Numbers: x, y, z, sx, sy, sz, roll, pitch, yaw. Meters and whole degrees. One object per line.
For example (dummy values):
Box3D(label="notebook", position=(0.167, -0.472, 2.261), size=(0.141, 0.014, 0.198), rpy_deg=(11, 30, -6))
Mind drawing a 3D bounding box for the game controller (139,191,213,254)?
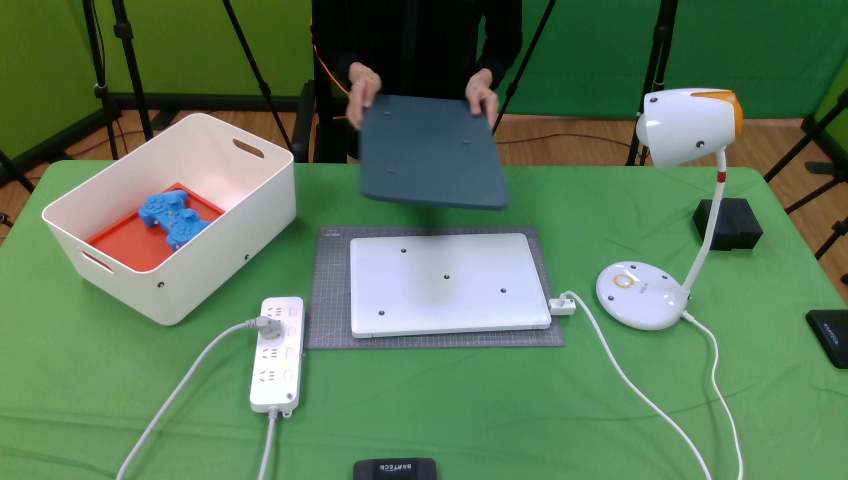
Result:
Box3D(label="game controller", position=(-0.435, -0.039, 1.080), size=(0.154, 0.052, 0.097), rpy_deg=(36, 59, 27))

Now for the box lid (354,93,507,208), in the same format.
Box3D(label="box lid", position=(0.003, -0.177, 1.135), size=(0.264, 0.015, 0.369), rpy_deg=(3, 39, -8))

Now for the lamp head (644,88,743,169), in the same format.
Box3D(label="lamp head", position=(0.380, -0.161, 0.851), size=(0.122, 0.113, 0.112), rpy_deg=(-4, 42, 25))

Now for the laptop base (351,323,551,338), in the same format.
Box3D(label="laptop base", position=(0.040, 0.080, 1.125), size=(0.355, 0.023, 0.234), rpy_deg=(-2, 43, -6))

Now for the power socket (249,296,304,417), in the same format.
Box3D(label="power socket", position=(-0.239, 0.182, 0.996), size=(0.072, 0.033, 0.225), rpy_deg=(-2, 47, -5))

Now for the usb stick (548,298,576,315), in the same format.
Box3D(label="usb stick", position=(0.240, 0.120, 1.085), size=(0.059, 0.027, 0.021), rpy_deg=(-2, 51, -2))

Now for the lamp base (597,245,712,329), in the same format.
Box3D(label="lamp base", position=(0.418, 0.051, 1.072), size=(0.179, 0.181, 0.160), rpy_deg=(22, 49, 13))

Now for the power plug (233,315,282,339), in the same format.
Box3D(label="power plug", position=(-0.271, 0.144, 0.999), size=(0.072, 0.053, 0.035), rpy_deg=(6, 47, 3))

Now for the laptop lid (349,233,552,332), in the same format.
Box3D(label="laptop lid", position=(0.040, 0.071, 1.118), size=(0.357, 0.013, 0.240), rpy_deg=(-1, 44, -5))

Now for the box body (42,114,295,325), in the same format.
Box3D(label="box body", position=(-0.437, -0.046, 1.110), size=(0.253, 0.161, 0.363), rpy_deg=(24, 49, 19))
